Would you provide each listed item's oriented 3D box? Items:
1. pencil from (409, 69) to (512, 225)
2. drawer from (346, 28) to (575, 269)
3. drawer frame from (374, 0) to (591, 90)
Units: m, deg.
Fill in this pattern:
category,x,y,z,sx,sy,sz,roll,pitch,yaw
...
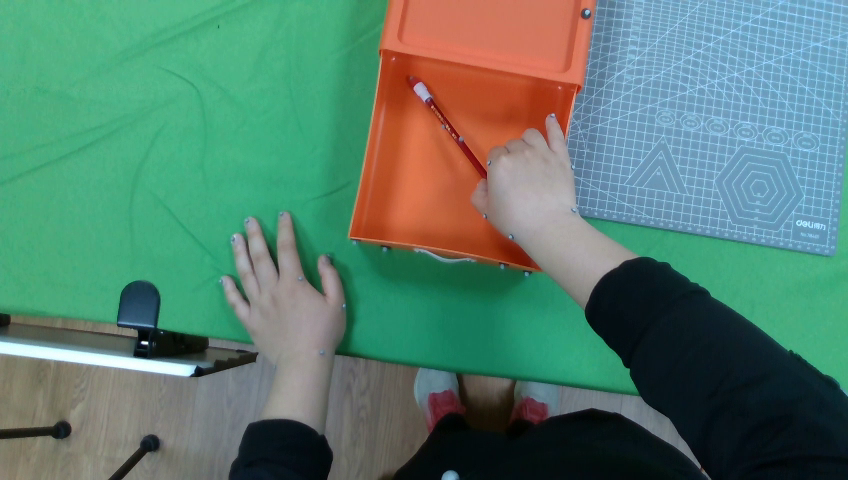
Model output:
category,x,y,z,sx,sy,sz,roll,pitch,yaw
pencil,0.038,-0.097,0.621,0.012,0.012,0.193,-31,81,-3
drawer,0.037,-0.086,0.608,0.194,0.073,0.211,10,88,0
drawer frame,0.067,-0.263,0.620,0.202,0.083,0.213,9,84,0
